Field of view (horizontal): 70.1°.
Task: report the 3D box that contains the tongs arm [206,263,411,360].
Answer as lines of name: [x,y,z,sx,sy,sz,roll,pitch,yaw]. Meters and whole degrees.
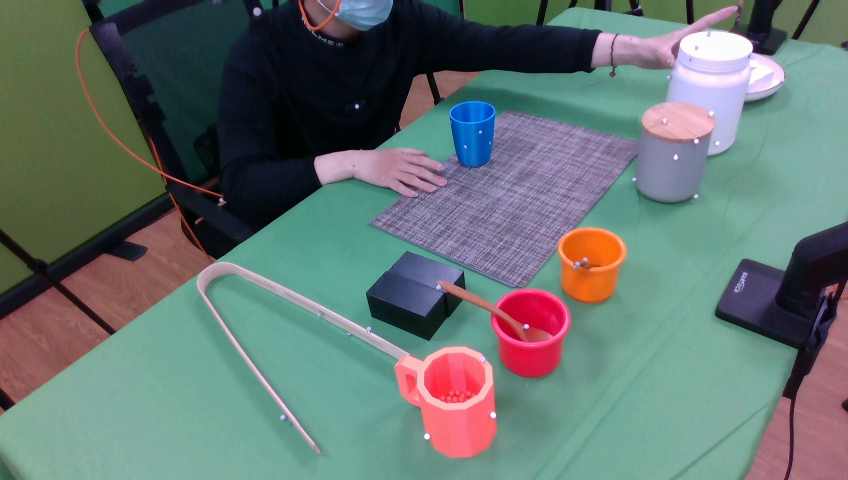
tongs arm: [-0.179,0.106,0.870,0.381,0.026,0.051,23,53,32]

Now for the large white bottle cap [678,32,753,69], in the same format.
large white bottle cap: [0.491,-0.321,1.021,0.115,0.018,0.114,-4,41,4]

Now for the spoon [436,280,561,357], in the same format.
spoon: [0.096,0.095,0.758,0.195,0.021,0.041,34,40,-20]

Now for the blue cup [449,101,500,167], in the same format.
blue cup: [0.092,-0.194,1.123,0.092,0.100,0.092,-3,39,3]

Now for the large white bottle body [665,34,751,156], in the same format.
large white bottle body: [0.500,-0.258,1.076,0.130,0.185,0.130,-5,41,5]

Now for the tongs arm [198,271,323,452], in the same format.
tongs arm: [-0.236,0.152,0.829,0.028,0.028,0.384,-36,47,-19]

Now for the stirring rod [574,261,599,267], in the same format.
stirring rod: [0.221,0.033,0.817,0.014,0.006,0.177,9,1,22]

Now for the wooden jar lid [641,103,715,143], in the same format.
wooden jar lid: [0.398,-0.180,0.952,0.108,0.021,0.108,-4,43,4]

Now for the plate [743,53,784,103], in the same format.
plate: [0.632,-0.336,1.262,0.207,0.039,0.206,-4,41,4]

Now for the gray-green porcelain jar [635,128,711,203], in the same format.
gray-green porcelain jar: [0.405,-0.133,0.992,0.106,0.127,0.105,-4,40,4]

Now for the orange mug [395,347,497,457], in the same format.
orange mug: [0.024,0.181,0.703,0.125,0.101,0.083,21,48,23]
